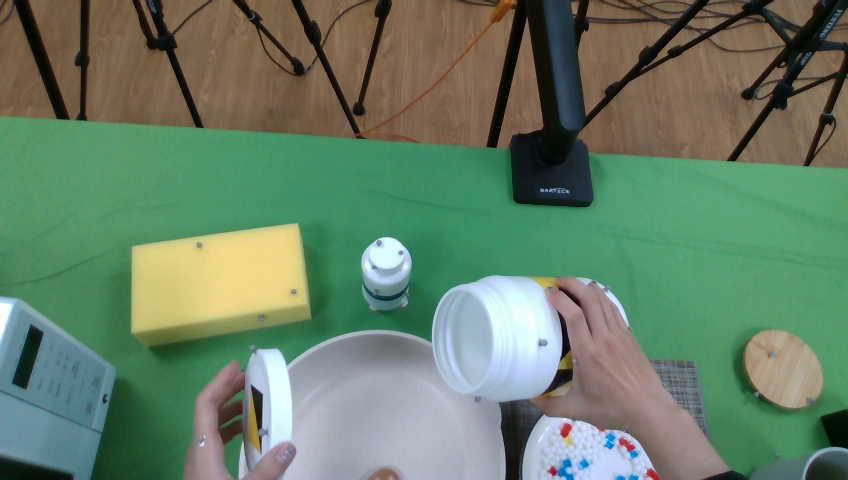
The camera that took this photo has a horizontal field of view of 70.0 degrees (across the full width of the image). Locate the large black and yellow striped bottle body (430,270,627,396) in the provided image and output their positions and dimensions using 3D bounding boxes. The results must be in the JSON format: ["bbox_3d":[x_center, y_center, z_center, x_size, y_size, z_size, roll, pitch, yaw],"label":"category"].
[{"bbox_3d":[0.111,0.098,0.653,0.185,0.131,0.129,3,61,-33],"label":"large black and yellow striped bottle body"}]

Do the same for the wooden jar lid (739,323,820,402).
[{"bbox_3d":[0.479,0.166,0.822,0.108,0.021,0.107,2,66,-4],"label":"wooden jar lid"}]

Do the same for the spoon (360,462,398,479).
[{"bbox_3d":[-0.093,0.312,0.653,0.041,0.022,0.193,47,42,8],"label":"spoon"}]

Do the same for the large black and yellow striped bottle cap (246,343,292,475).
[{"bbox_3d":[-0.140,0.149,0.537,0.019,0.115,0.114,2,62,-26],"label":"large black and yellow striped bottle cap"}]

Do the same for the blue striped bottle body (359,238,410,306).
[{"bbox_3d":[-0.051,0.035,0.776,0.063,0.121,0.062,2,64,-5],"label":"blue striped bottle body"}]

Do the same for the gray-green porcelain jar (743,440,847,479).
[{"bbox_3d":[0.444,0.293,0.699,0.106,0.127,0.105,2,64,-4],"label":"gray-green porcelain jar"}]

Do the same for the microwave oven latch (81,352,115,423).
[{"bbox_3d":[-0.383,0.171,0.704,0.030,0.030,0.078,3,65,-4],"label":"microwave oven latch"}]

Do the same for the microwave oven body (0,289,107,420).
[{"bbox_3d":[-0.529,0.278,0.532,0.326,0.262,0.438,4,65,-4],"label":"microwave oven body"}]

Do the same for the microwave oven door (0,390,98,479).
[{"bbox_3d":[-0.385,0.323,0.519,0.039,0.245,0.353,3,64,-4],"label":"microwave oven door"}]

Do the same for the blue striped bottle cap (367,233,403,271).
[{"bbox_3d":[-0.047,0.014,0.729,0.044,0.021,0.044,2,61,-3],"label":"blue striped bottle cap"}]

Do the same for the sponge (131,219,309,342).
[{"bbox_3d":[-0.260,0.051,0.781,0.207,0.061,0.117,-9,66,-10],"label":"sponge"}]

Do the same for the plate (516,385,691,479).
[{"bbox_3d":[0.212,0.281,0.728,0.209,0.038,0.207,2,65,-4],"label":"plate"}]

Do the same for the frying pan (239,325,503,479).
[{"bbox_3d":[-0.018,0.327,0.647,0.307,0.103,0.483,-18,60,-13],"label":"frying pan"}]
